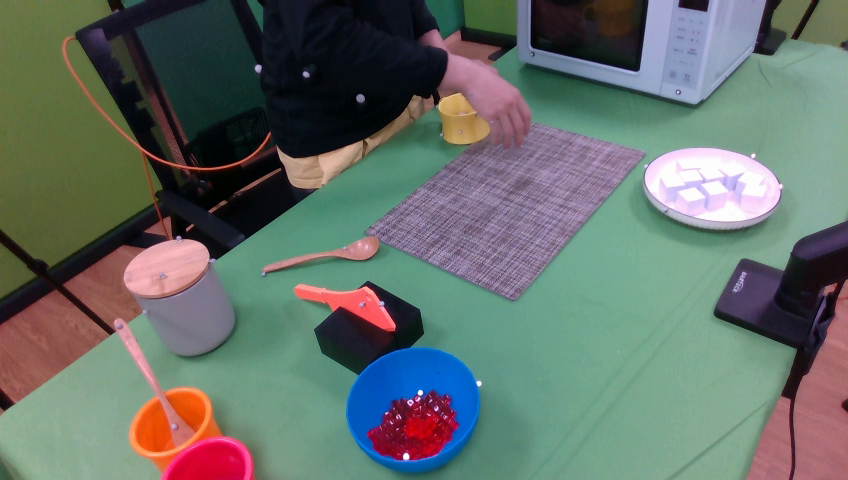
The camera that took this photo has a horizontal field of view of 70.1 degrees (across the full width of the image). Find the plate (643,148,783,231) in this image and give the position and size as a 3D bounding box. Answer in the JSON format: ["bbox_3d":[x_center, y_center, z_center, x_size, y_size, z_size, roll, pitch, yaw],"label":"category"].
[{"bbox_3d":[0.464,-0.080,0.986,0.207,0.039,0.206,-4,41,4],"label":"plate"}]

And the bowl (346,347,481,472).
[{"bbox_3d":[-0.008,0.205,0.691,0.151,0.077,0.150,-4,40,4],"label":"bowl"}]

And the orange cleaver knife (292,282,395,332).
[{"bbox_3d":[-0.116,0.091,0.835,0.209,0.077,0.012,2,32,48],"label":"orange cleaver knife"}]

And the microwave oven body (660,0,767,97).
[{"bbox_3d":[0.473,-0.516,1.313,0.438,0.261,0.327,26,51,34],"label":"microwave oven body"}]

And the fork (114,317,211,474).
[{"bbox_3d":[-0.309,0.180,0.708,0.028,0.018,0.207,-29,89,-26],"label":"fork"}]

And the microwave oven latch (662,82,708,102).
[{"bbox_3d":[0.518,-0.298,1.202,0.078,0.029,0.030,28,53,35],"label":"microwave oven latch"}]

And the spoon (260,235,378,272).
[{"bbox_3d":[-0.168,0.024,0.966,0.194,0.022,0.041,-10,58,-3],"label":"spoon"}]

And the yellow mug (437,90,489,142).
[{"bbox_3d":[0.070,-0.257,1.224,0.100,0.064,0.129,-33,44,-26],"label":"yellow mug"}]

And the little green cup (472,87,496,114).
[{"bbox_3d":[0.123,-0.295,1.284,0.061,0.039,0.061,-6,37,5],"label":"little green cup"}]

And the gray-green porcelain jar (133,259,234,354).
[{"bbox_3d":[-0.328,0.087,0.836,0.106,0.127,0.105,-4,41,4],"label":"gray-green porcelain jar"}]

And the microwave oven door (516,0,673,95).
[{"bbox_3d":[0.344,-0.458,1.256,0.353,0.245,0.039,26,51,33],"label":"microwave oven door"}]

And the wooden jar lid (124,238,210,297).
[{"bbox_3d":[-0.335,0.039,0.794,0.108,0.021,0.108,-2,40,2],"label":"wooden jar lid"}]
